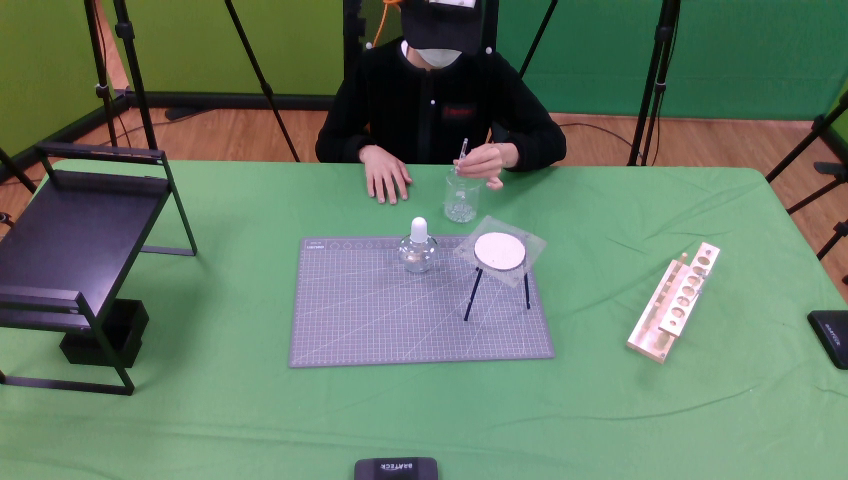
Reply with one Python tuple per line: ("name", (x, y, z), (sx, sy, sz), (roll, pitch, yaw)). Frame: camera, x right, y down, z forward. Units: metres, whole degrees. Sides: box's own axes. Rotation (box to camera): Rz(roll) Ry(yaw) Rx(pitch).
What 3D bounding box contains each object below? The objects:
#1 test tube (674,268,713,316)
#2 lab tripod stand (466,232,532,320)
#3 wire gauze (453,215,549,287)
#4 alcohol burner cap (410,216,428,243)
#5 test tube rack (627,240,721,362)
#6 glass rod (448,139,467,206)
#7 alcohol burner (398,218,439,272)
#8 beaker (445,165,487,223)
("test tube", (0.445, 0.098, 1.017), (0.017, 0.151, 0.017), (4, 48, -4))
("lab tripod stand", (0.125, 0.059, 1.065), (0.148, 0.132, 0.147), (1, 45, 0))
("wire gauze", (0.129, 0.012, 1.017), (0.124, 0.011, 0.121), (28, 50, 23))
("alcohol burner cap", (-0.009, -0.022, 1.099), (0.034, 0.048, 0.033), (2, 41, -1))
("test tube rack", (0.452, 0.098, 1.087), (0.066, 0.085, 0.242), (28, 51, 22))
("glass rod", (0.065, -0.127, 1.184), (0.008, 0.200, 0.008), (4, 56, -5))
("alcohol burner", (-0.010, 0.004, 1.123), (0.078, 0.120, 0.077), (1, 48, 0))
("beaker", (0.082, -0.092, 1.236), (0.084, 0.101, 0.073), (-7, 47, -11))
